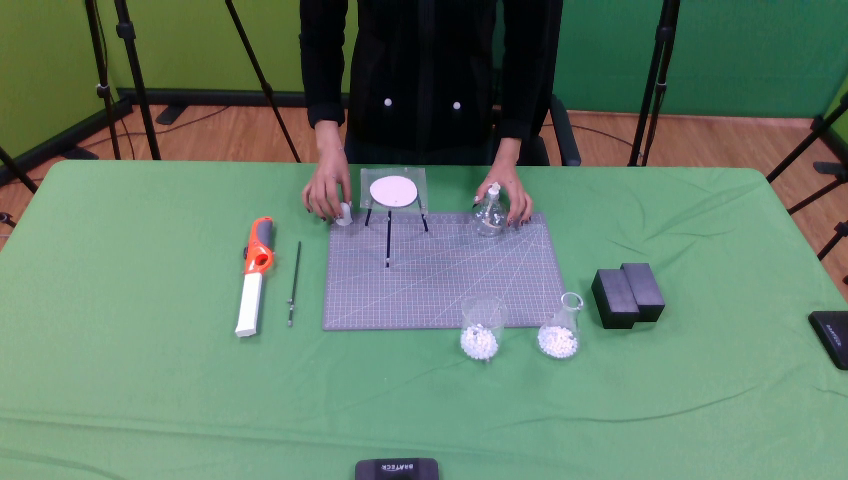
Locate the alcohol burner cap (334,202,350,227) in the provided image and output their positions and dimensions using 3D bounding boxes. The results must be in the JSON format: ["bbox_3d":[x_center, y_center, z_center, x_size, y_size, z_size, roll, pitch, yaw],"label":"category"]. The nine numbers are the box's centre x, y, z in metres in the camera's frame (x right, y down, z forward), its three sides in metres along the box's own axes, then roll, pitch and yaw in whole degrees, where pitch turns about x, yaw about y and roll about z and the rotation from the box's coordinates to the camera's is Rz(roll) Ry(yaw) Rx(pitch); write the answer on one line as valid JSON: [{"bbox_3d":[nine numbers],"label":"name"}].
[{"bbox_3d":[-0.168,-0.054,1.221,0.034,0.048,0.033,1,47,0],"label":"alcohol burner cap"}]

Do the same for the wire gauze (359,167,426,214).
[{"bbox_3d":[-0.059,-0.093,1.110,0.125,0.011,0.120,2,45,-5],"label":"wire gauze"}]

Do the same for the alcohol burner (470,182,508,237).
[{"bbox_3d":[0.132,-0.065,1.207,0.078,0.120,0.077,2,44,-1],"label":"alcohol burner"}]

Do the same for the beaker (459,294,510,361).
[{"bbox_3d":[0.095,0.147,1.012,0.083,0.101,0.074,26,49,21],"label":"beaker"}]

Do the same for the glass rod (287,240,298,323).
[{"bbox_3d":[-0.242,0.072,1.119,0.008,0.008,0.198,-1,47,-5],"label":"glass rod"}]

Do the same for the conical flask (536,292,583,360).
[{"bbox_3d":[0.234,0.139,1.015,0.075,0.122,0.075,2,46,-2],"label":"conical flask"}]

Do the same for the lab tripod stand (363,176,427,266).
[{"bbox_3d":[-0.057,-0.047,1.159,0.148,0.132,0.147,3,44,-2],"label":"lab tripod stand"}]

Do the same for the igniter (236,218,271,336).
[{"bbox_3d":[-0.312,0.058,1.115,0.057,0.025,0.274,-9,46,2],"label":"igniter"}]
